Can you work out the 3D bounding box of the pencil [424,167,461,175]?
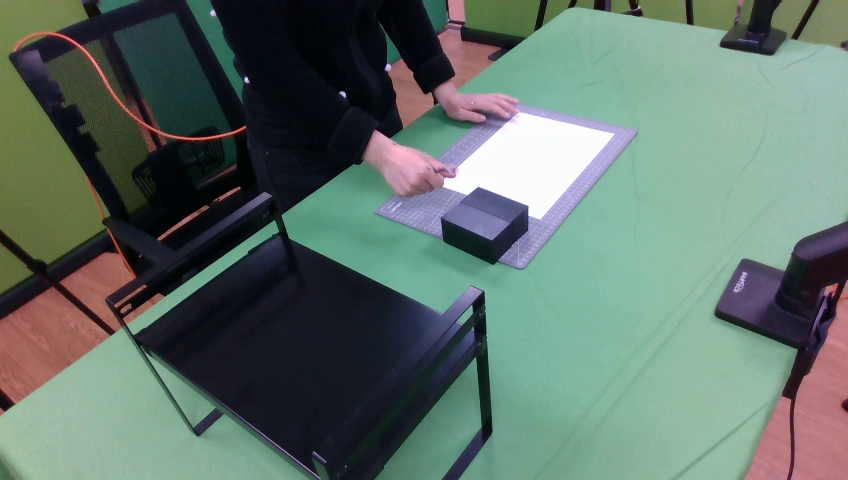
[{"bbox_3d":[0.024,-0.109,0.945,0.012,0.012,0.193,-18,11,-12],"label":"pencil"}]
